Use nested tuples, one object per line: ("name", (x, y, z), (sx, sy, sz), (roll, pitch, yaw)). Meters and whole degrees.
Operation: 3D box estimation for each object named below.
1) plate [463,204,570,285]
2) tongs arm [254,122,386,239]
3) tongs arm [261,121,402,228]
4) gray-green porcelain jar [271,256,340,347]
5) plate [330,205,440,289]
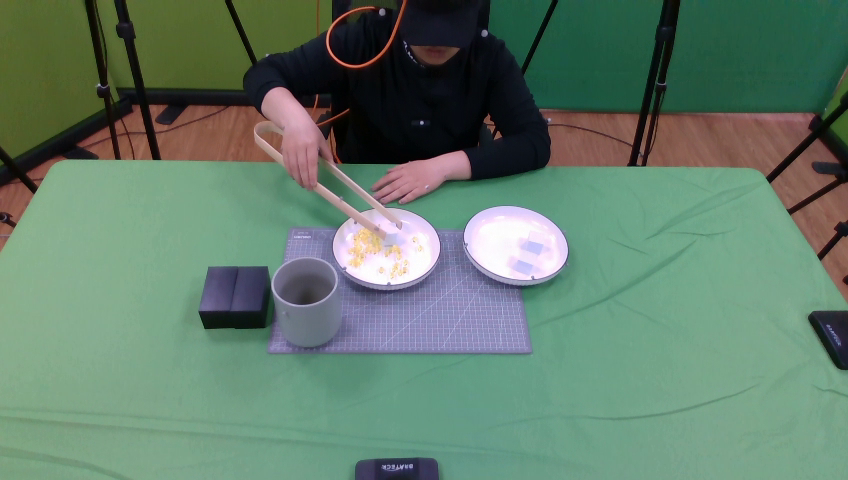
("plate", (0.178, 0.012, 1.184), (0.209, 0.038, 0.208), (3, 46, -3))
("tongs arm", (-0.210, -0.124, 1.210), (0.383, 0.026, 0.050), (35, 54, 17))
("tongs arm", (-0.191, -0.139, 1.226), (0.386, 0.028, 0.028), (37, 58, 19))
("gray-green porcelain jar", (-0.193, 0.107, 1.004), (0.106, 0.127, 0.105), (2, 46, -2))
("plate", (-0.074, 0.017, 1.160), (0.208, 0.039, 0.206), (2, 46, -2))
